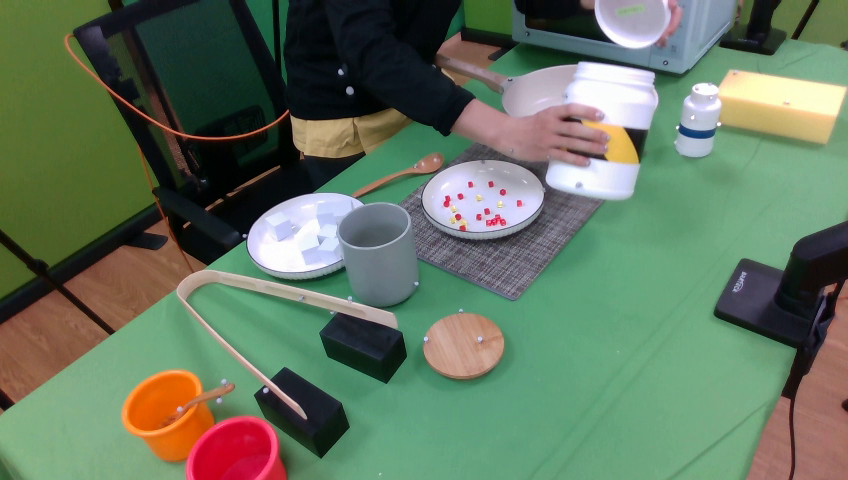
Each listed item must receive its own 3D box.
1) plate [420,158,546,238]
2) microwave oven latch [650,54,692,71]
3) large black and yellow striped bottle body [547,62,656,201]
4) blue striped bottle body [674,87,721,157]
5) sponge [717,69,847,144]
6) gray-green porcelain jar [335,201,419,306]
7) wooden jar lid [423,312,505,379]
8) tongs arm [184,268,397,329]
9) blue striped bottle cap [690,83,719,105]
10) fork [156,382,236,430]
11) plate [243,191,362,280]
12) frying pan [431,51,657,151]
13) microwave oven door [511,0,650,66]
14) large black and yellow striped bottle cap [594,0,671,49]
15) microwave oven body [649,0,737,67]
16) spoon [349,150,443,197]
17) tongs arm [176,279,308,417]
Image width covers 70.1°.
[{"bbox_3d":[0.099,-0.067,1.017,0.209,0.038,0.208,-4,40,4],"label":"plate"},{"bbox_3d":[0.530,-0.386,1.301,0.078,0.029,0.030,23,50,32],"label":"microwave oven latch"},{"bbox_3d":[0.263,-0.160,0.892,0.131,0.184,0.130,8,17,-2],"label":"large black and yellow striped bottle body"},{"bbox_3d":[0.486,-0.213,1.071,0.063,0.121,0.063,-4,41,4],"label":"blue striped bottle body"},{"bbox_3d":[0.663,-0.256,1.141,0.205,0.061,0.118,19,47,27],"label":"sponge"},{"bbox_3d":[-0.064,0.024,0.872,0.106,0.127,0.105,-4,41,4],"label":"gray-green porcelain jar"},{"bbox_3d":[0.053,0.142,0.800,0.108,0.021,0.108,-5,39,4],"label":"wooden jar lid"},{"bbox_3d":[-0.203,0.084,0.847,0.382,0.027,0.051,11,44,35],"label":"tongs arm"},{"bbox_3d":[0.482,-0.251,1.038,0.044,0.021,0.044,-6,40,5],"label":"blue striped bottle cap"},{"bbox_3d":[-0.262,0.189,0.690,0.018,0.206,0.028,49,43,-7],"label":"fork"},{"bbox_3d":[-0.188,-0.005,0.992,0.207,0.039,0.206,-3,41,3],"label":"plate"},{"bbox_3d":[0.216,-0.303,1.223,0.484,0.103,0.308,29,50,24],"label":"frying pan"},{"bbox_3d":[0.351,-0.540,1.350,0.353,0.245,0.039,24,50,31],"label":"microwave oven door"},{"bbox_3d":[0.308,-0.339,0.897,0.114,0.115,0.019,26,60,32],"label":"large black and yellow striped bottle cap"},{"bbox_3d":[0.475,-0.602,1.411,0.438,0.261,0.327,23,50,32],"label":"microwave oven body"},{"bbox_3d":[-0.051,-0.123,1.120,0.194,0.022,0.041,-23,61,-18],"label":"spoon"},{"bbox_3d":[-0.255,0.131,0.800,0.028,0.028,0.384,-40,40,-24],"label":"tongs arm"}]
